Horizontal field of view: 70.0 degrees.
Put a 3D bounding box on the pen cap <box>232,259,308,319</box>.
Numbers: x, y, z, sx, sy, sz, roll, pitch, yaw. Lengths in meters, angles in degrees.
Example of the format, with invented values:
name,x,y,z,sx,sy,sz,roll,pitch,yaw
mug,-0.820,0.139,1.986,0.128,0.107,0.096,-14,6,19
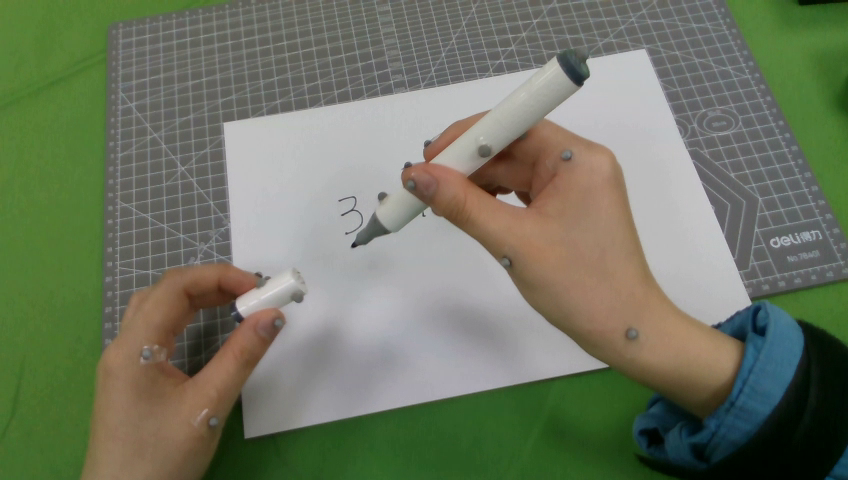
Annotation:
name,x,y,z,sx,sy,sz,roll,pitch,yaw
pen cap,-0.077,0.026,0.302,0.038,0.017,0.017,-30,67,12

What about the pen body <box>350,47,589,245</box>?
name,x,y,z,sx,sy,sz,roll,pitch,yaw
pen body,0.010,-0.032,0.264,0.144,0.017,0.017,-35,61,36
